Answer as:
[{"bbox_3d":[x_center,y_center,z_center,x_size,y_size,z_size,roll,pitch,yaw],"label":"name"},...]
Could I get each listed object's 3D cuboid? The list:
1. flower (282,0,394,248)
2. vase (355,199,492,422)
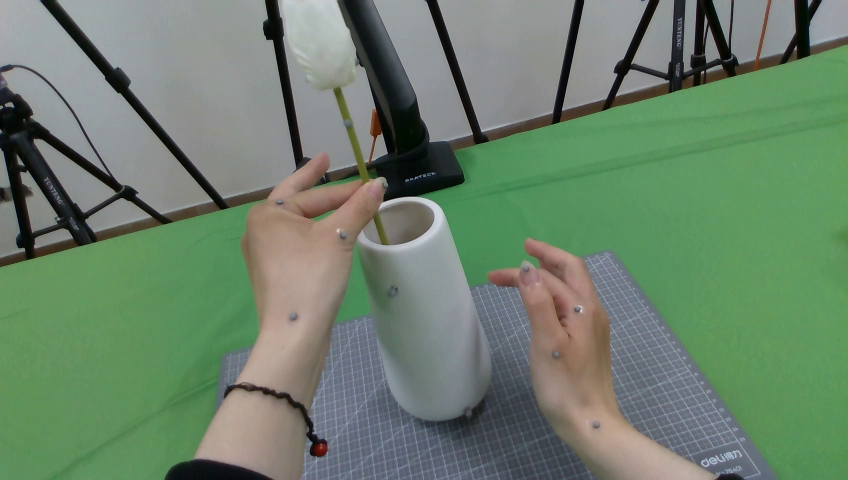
[{"bbox_3d":[-0.027,0.003,0.457,0.038,0.365,0.043,-27,28,-18],"label":"flower"},{"bbox_3d":[0.000,0.064,0.516,0.098,0.202,0.097,-9,36,7],"label":"vase"}]
